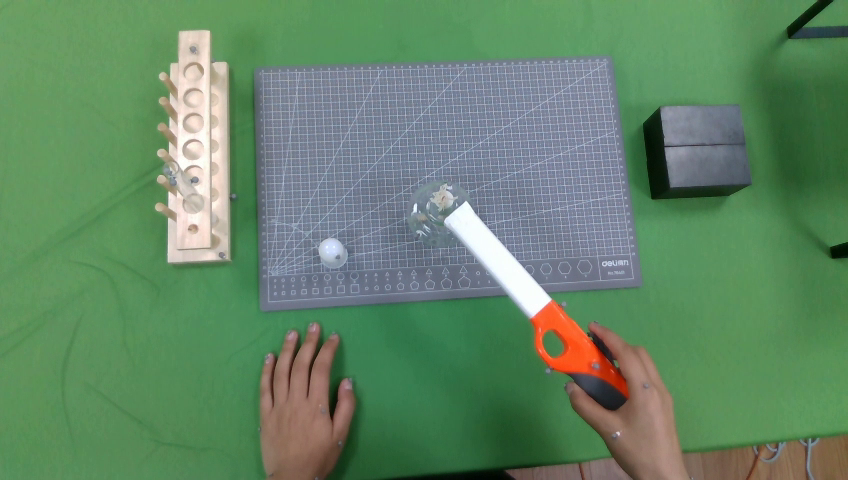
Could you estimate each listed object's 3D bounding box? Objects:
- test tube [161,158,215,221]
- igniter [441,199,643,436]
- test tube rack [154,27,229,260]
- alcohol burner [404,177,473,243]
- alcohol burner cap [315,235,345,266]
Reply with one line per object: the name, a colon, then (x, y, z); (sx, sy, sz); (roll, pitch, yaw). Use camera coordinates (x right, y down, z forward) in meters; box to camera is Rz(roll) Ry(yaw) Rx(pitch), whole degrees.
test tube: (-0.237, -0.048, 0.618); (0.017, 0.151, 0.017); (2, 74, -5)
igniter: (0.116, 0.074, 0.588); (0.057, 0.025, 0.276); (-40, 87, -8)
test tube rack: (-0.262, -0.105, 0.676); (0.067, 0.085, 0.241); (-3, 80, -4)
alcohol burner: (0.017, -0.037, 0.668); (0.078, 0.119, 0.077); (1, 80, -3)
alcohol burner cap: (-0.107, 0.009, 0.686); (0.034, 0.048, 0.033); (1, 78, -4)
